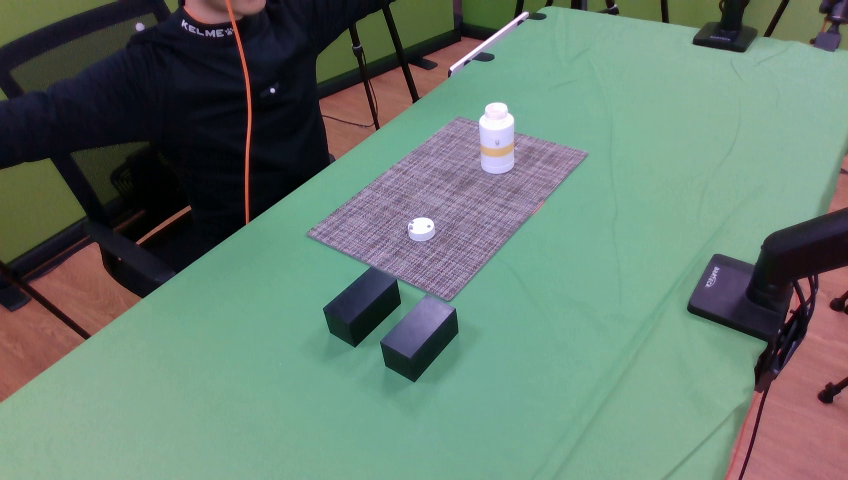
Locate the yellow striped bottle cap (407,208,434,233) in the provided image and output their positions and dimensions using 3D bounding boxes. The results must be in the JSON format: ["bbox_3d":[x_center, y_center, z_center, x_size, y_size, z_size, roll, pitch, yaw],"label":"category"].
[{"bbox_3d":[-0.006,-0.032,0.971,0.044,0.019,0.044,2,44,-2],"label":"yellow striped bottle cap"}]

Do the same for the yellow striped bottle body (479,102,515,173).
[{"bbox_3d":[0.131,-0.186,1.083,0.063,0.121,0.062,-4,41,4],"label":"yellow striped bottle body"}]
